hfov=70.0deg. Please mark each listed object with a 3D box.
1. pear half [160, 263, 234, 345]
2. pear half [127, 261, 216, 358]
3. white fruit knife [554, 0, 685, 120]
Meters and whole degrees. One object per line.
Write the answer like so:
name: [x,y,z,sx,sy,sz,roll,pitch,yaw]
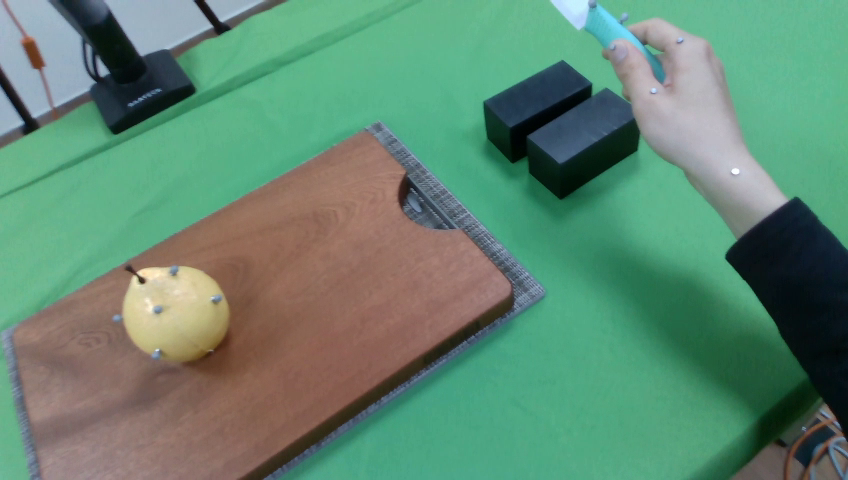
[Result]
pear half: [-0.180,0.046,0.500,0.031,0.089,0.069,-26,46,-5]
pear half: [-0.215,0.053,0.490,0.056,0.111,0.075,-25,49,-5]
white fruit knife: [0.133,-0.178,0.478,0.206,0.016,0.027,49,118,8]
